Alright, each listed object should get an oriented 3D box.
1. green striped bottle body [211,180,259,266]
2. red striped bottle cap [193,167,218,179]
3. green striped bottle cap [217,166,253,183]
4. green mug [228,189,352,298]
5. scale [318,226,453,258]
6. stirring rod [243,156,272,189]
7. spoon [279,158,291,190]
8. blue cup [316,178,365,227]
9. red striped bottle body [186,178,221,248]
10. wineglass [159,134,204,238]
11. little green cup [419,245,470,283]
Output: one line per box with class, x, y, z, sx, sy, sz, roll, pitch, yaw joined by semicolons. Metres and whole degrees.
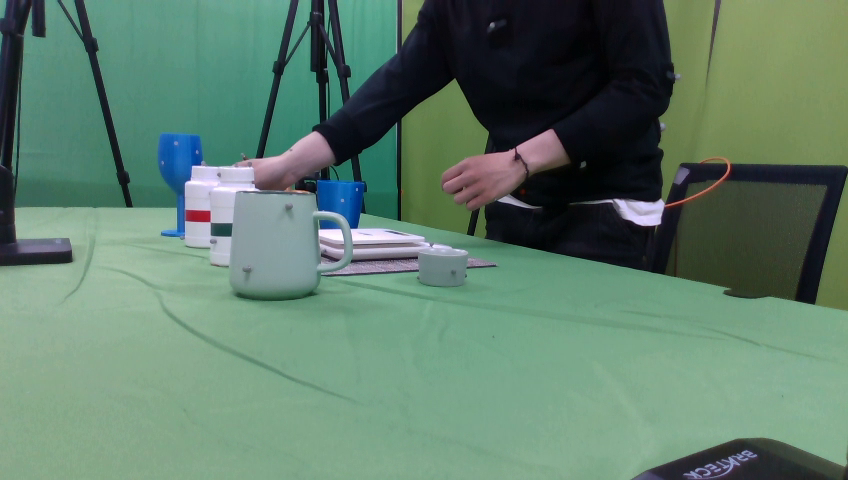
green striped bottle body;-0.243;-0.029;0.784;0.063;0.119;0.063;2;7;0
red striped bottle cap;-0.329;-0.103;0.921;0.044;0.017;0.044;-1;9;0
green striped bottle cap;-0.242;-0.085;0.777;0.044;0.020;0.044;2;9;0
green mug;-0.135;0.002;0.618;0.125;0.105;0.092;2;7;4
scale;-0.066;0.001;0.906;0.202;0.031;0.148;-2;8;-31
stirring rod;-0.304;-0.099;1.201;0.006;0.177;0.014;-27;37;7
spoon;-0.280;-0.103;1.251;0.042;0.193;0.021;8;-40;-30
blue cup;-0.149;-0.057;1.072;0.093;0.100;0.092;3;8;0
red striped bottle body;-0.331;-0.050;0.927;0.063;0.119;0.063;2;6;0
wineglass;-0.415;-0.093;1.039;0.074;0.172;0.073;2;7;0
little green cup;0.023;0.028;0.712;0.061;0.038;0.061;2;6;0
